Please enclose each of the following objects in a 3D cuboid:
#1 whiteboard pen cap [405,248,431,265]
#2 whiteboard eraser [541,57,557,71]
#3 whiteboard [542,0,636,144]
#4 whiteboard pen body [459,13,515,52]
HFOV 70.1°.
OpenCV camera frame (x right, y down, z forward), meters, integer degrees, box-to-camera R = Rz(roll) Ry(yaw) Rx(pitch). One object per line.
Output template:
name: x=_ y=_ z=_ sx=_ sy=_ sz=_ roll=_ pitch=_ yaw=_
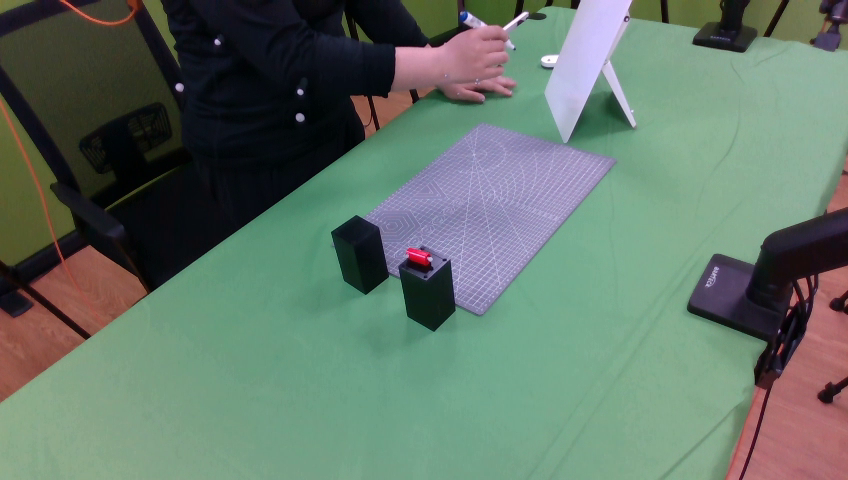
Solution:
whiteboard pen cap: x=-0.008 y=0.021 z=0.794 sx=0.032 sy=0.017 sz=0.017 roll=16 pitch=46 yaw=28
whiteboard eraser: x=0.323 y=-0.412 z=1.407 sx=0.101 sy=0.019 sz=0.041 roll=1 pitch=42 yaw=11
whiteboard: x=0.366 y=-0.351 z=1.160 sx=0.144 sy=0.305 sz=0.216 roll=10 pitch=39 yaw=-10
whiteboard pen body: x=0.109 y=-0.342 z=1.006 sx=0.142 sy=0.017 sz=0.016 roll=14 pitch=20 yaw=-44
